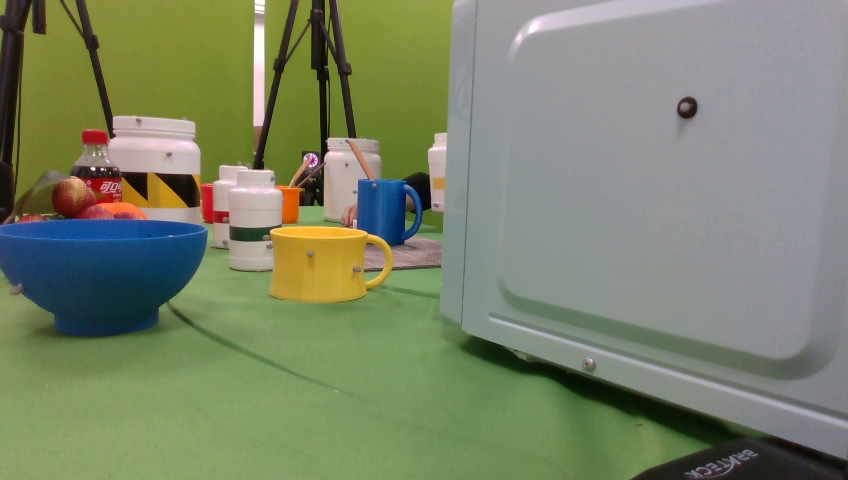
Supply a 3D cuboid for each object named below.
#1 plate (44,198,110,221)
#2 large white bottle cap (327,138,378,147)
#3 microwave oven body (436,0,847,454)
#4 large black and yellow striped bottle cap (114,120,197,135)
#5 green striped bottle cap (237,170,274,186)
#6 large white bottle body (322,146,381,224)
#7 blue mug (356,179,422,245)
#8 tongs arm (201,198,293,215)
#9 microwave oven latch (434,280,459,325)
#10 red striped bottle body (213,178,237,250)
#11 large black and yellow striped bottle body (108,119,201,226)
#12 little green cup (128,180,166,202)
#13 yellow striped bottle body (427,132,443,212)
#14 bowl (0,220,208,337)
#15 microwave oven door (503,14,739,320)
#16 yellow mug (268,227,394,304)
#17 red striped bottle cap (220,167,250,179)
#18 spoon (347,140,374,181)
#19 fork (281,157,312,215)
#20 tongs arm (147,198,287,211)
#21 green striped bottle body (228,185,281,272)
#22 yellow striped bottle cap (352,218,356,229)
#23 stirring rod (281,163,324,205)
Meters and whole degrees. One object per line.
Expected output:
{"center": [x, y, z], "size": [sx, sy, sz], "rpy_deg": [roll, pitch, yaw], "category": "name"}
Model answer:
{"center": [-0.617, -0.056, 1.179], "size": [0.209, 0.038, 0.209], "rpy_deg": [3, 7, 0], "category": "plate"}
{"center": [-0.160, -0.218, 1.357], "size": [0.115, 0.018, 0.115], "rpy_deg": [2, 8, 0], "category": "large white bottle cap"}
{"center": [0.279, -0.040, 0.464], "size": [0.444, 0.260, 0.324], "rpy_deg": [-3, 9, -41], "category": "microwave oven body"}
{"center": [-0.407, -0.171, 0.920], "size": [0.115, 0.019, 0.115], "rpy_deg": [2, 9, 0], "category": "large black and yellow striped bottle cap"}
{"center": [-0.205, -0.075, 0.737], "size": [0.044, 0.020, 0.044], "rpy_deg": [2, 6, 0], "category": "green striped bottle cap"}
{"center": [-0.163, -0.134, 1.369], "size": [0.131, 0.184, 0.130], "rpy_deg": [2, 7, 0], "category": "large white bottle body"}
{"center": [-0.057, -0.047, 1.007], "size": [0.116, 0.106, 0.082], "rpy_deg": [5, 8, 20], "category": "blue mug"}
{"center": [-0.423, -0.084, 1.472], "size": [0.050, 0.026, 0.386], "rpy_deg": [2, 6, 21], "category": "tongs arm"}
{"center": [0.044, 0.045, 0.470], "size": [0.079, 0.029, 0.030], "rpy_deg": [-2, 8, -39], "category": "microwave oven latch"}
{"center": [-0.284, -0.048, 0.909], "size": [0.063, 0.119, 0.063], "rpy_deg": [3, 10, 0], "category": "red striped bottle body"}
{"center": [-0.412, -0.088, 0.930], "size": [0.131, 0.184, 0.130], "rpy_deg": [3, 7, 0], "category": "large black and yellow striped bottle body"}
{"center": [-0.485, -0.087, 1.062], "size": [0.061, 0.038, 0.061], "rpy_deg": [-1, 6, 0], "category": "little green cup"}
{"center": [0.038, -0.106, 0.933], "size": [0.063, 0.120, 0.063], "rpy_deg": [-4, 11, 1], "category": "yellow striped bottle body"}
{"center": [-0.251, 0.029, 0.479], "size": [0.151, 0.077, 0.151], "rpy_deg": [2, 7, 0], "category": "bowl"}
{"center": [0.217, -0.065, 0.601], "size": [0.358, 0.243, 0.039], "rpy_deg": [-4, 10, -41], "category": "microwave oven door"}
{"center": [-0.094, 0.023, 0.630], "size": [0.131, 0.064, 0.099], "rpy_deg": [0, 7, -22], "category": "yellow mug"}
{"center": [-0.281, -0.100, 0.901], "size": [0.044, 0.017, 0.044], "rpy_deg": [-1, 5, 0], "category": "red striped bottle cap"}
{"center": [-0.089, -0.094, 1.028], "size": [0.042, 0.193, 0.021], "rpy_deg": [-4, -26, -45], "category": "spoon"}
{"center": [-0.289, -0.116, 1.321], "size": [0.028, 0.019, 0.207], "rpy_deg": [6, 51, 19], "category": "fork"}
{"center": [-0.504, -0.091, 1.513], "size": [0.028, 0.028, 0.389], "rpy_deg": [0, 4, 37], "category": "tongs arm"}
{"center": [-0.208, -0.024, 0.745], "size": [0.063, 0.119, 0.063], "rpy_deg": [2, 6, 0], "category": "green striped bottle body"}
{"center": [-0.114, -0.031, 1.145], "size": [0.044, 0.018, 0.044], "rpy_deg": [1, 9, 0], "category": "yellow striped bottle cap"}
{"center": [-0.278, -0.105, 1.293], "size": [0.176, 0.006, 0.014], "rpy_deg": [-47, 24, -18], "category": "stirring rod"}
